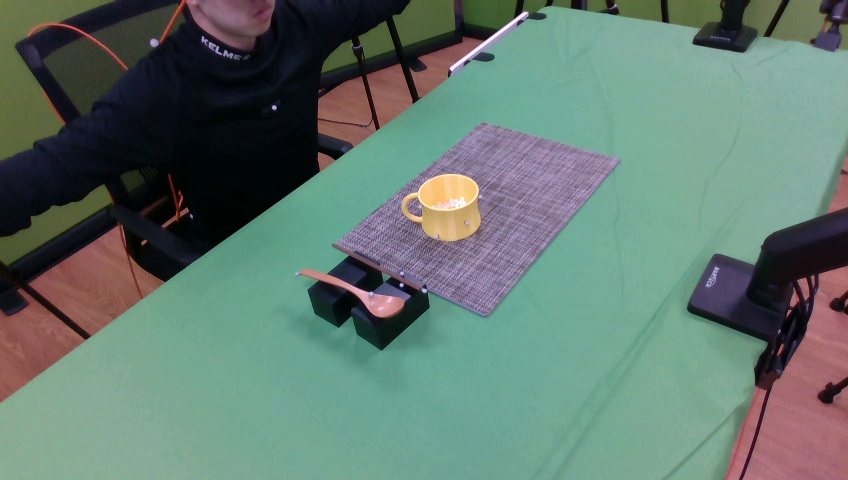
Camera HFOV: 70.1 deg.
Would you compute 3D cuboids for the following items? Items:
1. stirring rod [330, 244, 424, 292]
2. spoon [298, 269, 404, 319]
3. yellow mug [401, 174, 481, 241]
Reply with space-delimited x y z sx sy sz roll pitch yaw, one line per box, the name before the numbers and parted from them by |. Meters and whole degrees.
stirring rod | -0.070 0.038 0.863 0.175 0.006 0.014 24 12 31
spoon | -0.106 0.068 0.831 0.192 0.022 0.042 21 48 32
yellow mug | 0.026 -0.054 0.988 0.130 0.064 0.099 -1 40 8
